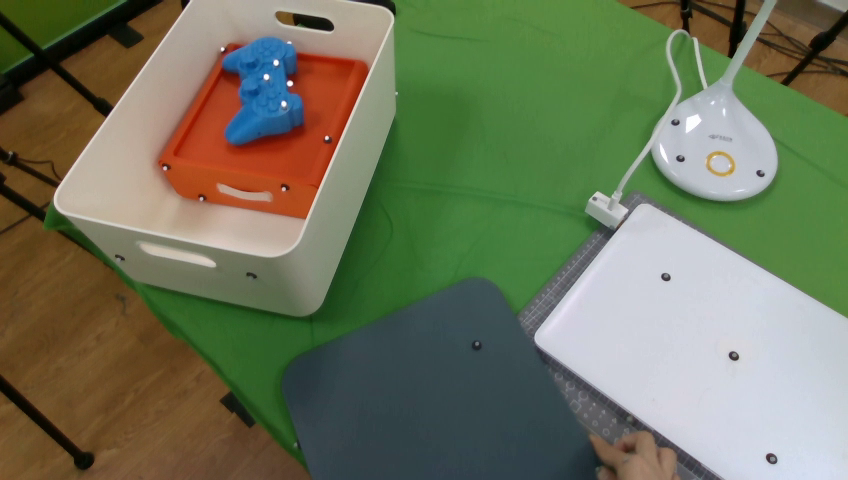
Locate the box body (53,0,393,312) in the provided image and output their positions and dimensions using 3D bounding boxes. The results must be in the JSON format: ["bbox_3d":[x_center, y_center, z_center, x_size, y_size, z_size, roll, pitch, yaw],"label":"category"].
[{"bbox_3d":[-0.199,-0.115,0.719,0.254,0.162,0.361,11,60,8],"label":"box body"}]

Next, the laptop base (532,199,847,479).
[{"bbox_3d":[0.322,0.122,0.646,0.352,0.023,0.235,35,69,20],"label":"laptop base"}]

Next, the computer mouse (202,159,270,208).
[{"bbox_3d":[-0.233,-0.078,0.755,0.063,0.041,0.116,-14,19,3],"label":"computer mouse"}]

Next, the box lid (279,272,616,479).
[{"bbox_3d":[0.031,0.218,0.596,0.263,0.015,0.367,-24,61,-11],"label":"box lid"}]

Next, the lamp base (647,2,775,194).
[{"bbox_3d":[0.371,-0.177,0.732,0.160,0.182,0.177,1,56,2],"label":"lamp base"}]

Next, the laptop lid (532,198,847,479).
[{"bbox_3d":[0.320,0.117,0.635,0.354,0.013,0.241,36,68,21],"label":"laptop lid"}]

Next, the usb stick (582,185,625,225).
[{"bbox_3d":[0.222,-0.038,0.730,0.059,0.027,0.021,40,62,19],"label":"usb stick"}]

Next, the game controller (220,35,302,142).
[{"bbox_3d":[-0.205,-0.195,0.748,0.097,0.052,0.153,-8,59,-8],"label":"game controller"}]
